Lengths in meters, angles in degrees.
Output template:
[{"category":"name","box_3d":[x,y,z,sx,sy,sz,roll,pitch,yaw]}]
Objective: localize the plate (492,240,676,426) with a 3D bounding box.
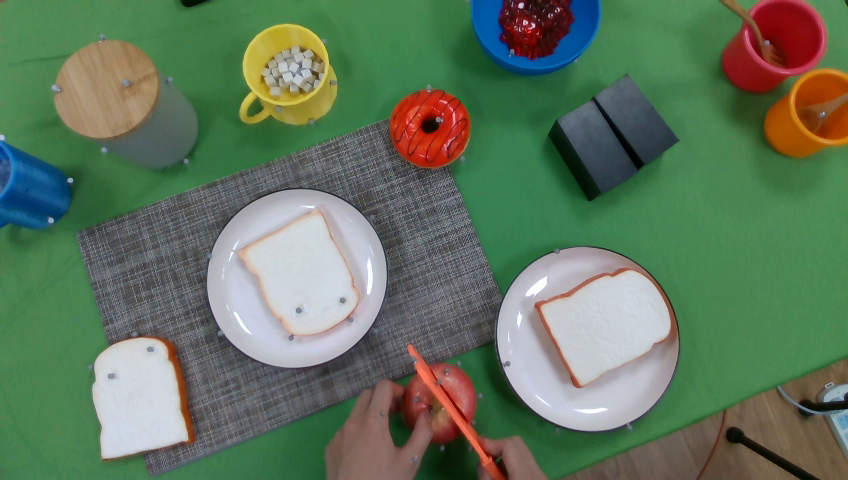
[{"category":"plate","box_3d":[0.181,0.105,0.698,0.209,0.038,0.208,0,82,0]}]

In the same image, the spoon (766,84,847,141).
[{"category":"spoon","box_3d":[0.485,-0.174,0.683,0.022,0.194,0.041,-18,76,-48]}]

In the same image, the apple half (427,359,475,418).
[{"category":"apple half","box_3d":[0.034,0.157,0.673,0.033,0.081,0.081,-38,83,-8]}]

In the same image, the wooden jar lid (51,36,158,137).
[{"category":"wooden jar lid","box_3d":[-0.328,-0.157,0.628,0.108,0.021,0.108,0,80,1]}]

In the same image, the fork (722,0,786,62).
[{"category":"fork","box_3d":[0.368,-0.253,0.694,0.209,0.018,0.028,17,78,-39]}]

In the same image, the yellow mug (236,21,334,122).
[{"category":"yellow mug","box_3d":[-0.174,-0.190,0.727,0.099,0.064,0.131,45,85,6]}]

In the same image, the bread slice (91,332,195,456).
[{"category":"bread slice","box_3d":[-0.328,0.173,0.694,0.105,0.019,0.131,-14,83,-3]}]

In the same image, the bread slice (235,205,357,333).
[{"category":"bread slice","box_3d":[-0.140,0.039,0.704,0.107,0.018,0.134,-32,82,-4]}]

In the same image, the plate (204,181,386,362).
[{"category":"plate","box_3d":[-0.147,0.036,0.704,0.208,0.039,0.207,0,82,0]}]

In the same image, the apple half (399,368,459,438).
[{"category":"apple half","box_3d":[0.001,0.183,0.668,0.053,0.075,0.080,-37,86,0]}]

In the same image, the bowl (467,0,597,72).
[{"category":"bowl","box_3d":[0.124,-0.265,0.732,0.151,0.077,0.151,0,82,0]}]

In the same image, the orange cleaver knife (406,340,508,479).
[{"category":"orange cleaver knife","box_3d":[0.043,0.196,0.642,0.012,0.077,0.212,-34,100,2]}]

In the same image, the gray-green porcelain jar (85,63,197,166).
[{"category":"gray-green porcelain jar","box_3d":[-0.327,-0.147,0.690,0.106,0.127,0.105,0,81,0]}]

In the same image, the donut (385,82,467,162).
[{"category":"donut","box_3d":[0.003,-0.141,0.727,0.099,0.048,0.098,0,82,0]}]

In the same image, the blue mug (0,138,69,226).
[{"category":"blue mug","box_3d":[-0.485,-0.054,0.686,0.082,0.106,0.116,42,84,6]}]
